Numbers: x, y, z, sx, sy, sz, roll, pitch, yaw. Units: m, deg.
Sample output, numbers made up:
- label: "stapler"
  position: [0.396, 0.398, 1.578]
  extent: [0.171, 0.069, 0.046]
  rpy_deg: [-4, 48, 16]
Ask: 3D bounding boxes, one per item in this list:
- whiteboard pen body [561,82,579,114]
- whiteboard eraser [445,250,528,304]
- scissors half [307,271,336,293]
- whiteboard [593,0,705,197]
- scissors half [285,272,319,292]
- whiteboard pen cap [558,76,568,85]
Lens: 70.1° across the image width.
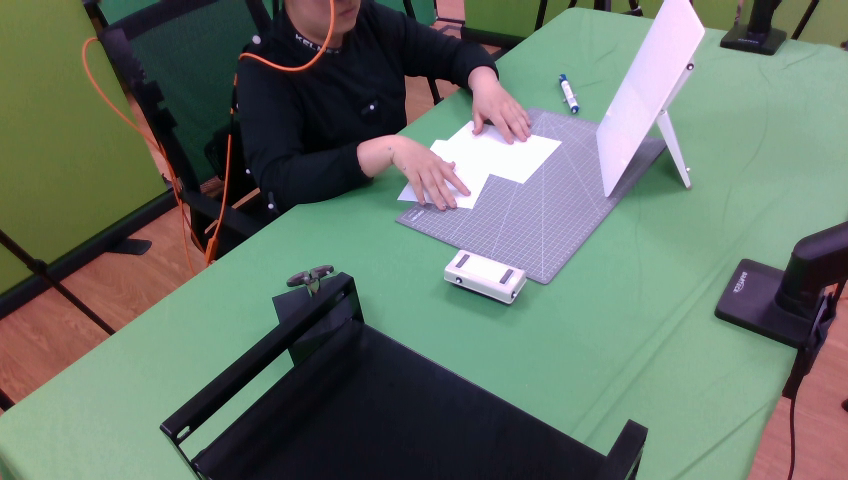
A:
- label: "whiteboard pen body"
  position: [0.310, -0.311, 1.297]
  extent: [0.017, 0.017, 0.140]
  rpy_deg: [-6, 41, 2]
- label: "whiteboard eraser"
  position: [0.090, 0.056, 0.882]
  extent: [0.112, 0.042, 0.056]
  rpy_deg: [17, 44, 27]
- label: "scissors half"
  position: [-0.152, 0.061, 0.872]
  extent: [0.040, 0.013, 0.175]
  rpy_deg: [-5, 6, -4]
- label: "whiteboard"
  position: [0.421, -0.227, 1.009]
  extent: [0.144, 0.305, 0.216]
  rpy_deg: [17, 41, -3]
- label: "scissors half"
  position: [-0.172, 0.063, 0.868]
  extent: [0.040, 0.013, 0.174]
  rpy_deg: [-12, 7, -21]
- label: "whiteboard pen cap"
  position: [0.310, -0.350, 1.340]
  extent: [0.018, 0.018, 0.033]
  rpy_deg: [-6, 42, 3]
